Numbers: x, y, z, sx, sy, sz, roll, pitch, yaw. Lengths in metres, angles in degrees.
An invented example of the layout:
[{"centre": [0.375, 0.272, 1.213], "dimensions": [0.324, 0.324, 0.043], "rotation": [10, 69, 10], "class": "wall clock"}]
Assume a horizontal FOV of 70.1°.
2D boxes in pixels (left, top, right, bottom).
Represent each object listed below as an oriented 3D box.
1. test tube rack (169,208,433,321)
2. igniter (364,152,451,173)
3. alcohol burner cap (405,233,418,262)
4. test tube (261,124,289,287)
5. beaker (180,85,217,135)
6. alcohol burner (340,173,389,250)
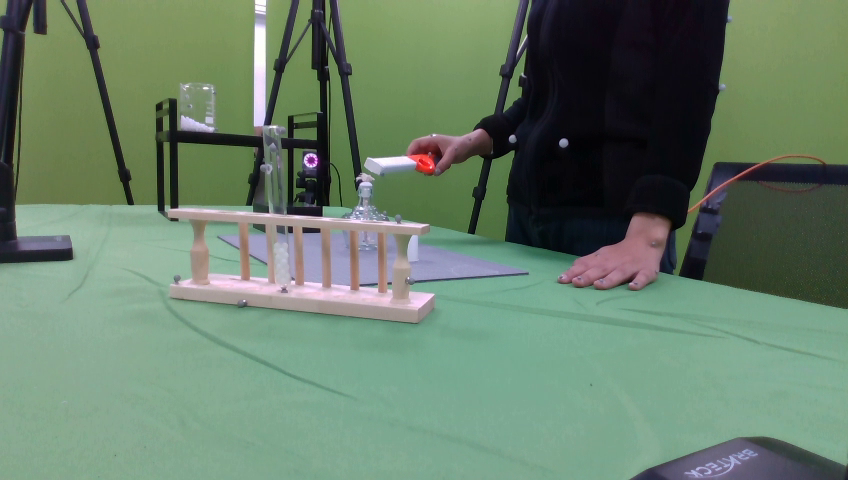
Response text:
[{"centre": [-0.115, 0.018, 0.574], "dimensions": [0.242, 0.085, 0.067], "rotation": [4, 8, 14], "class": "test tube rack"}, {"centre": [-0.021, -0.139, 1.073], "dimensions": [0.057, 0.025, 0.277], "rotation": [33, 21, 18], "class": "igniter"}, {"centre": [-0.024, 0.005, 0.847], "dimensions": [0.034, 0.048, 0.034], "rotation": [3, 9, 0], "class": "alcohol burner cap"}, {"centre": [-0.136, -0.030, 0.554], "dimensions": [0.017, 0.150, 0.017], "rotation": [-2, 10, 1], "class": "test tube"}, {"centre": [-0.478, -0.275, 1.279], "dimensions": [0.074, 0.100, 0.084], "rotation": [4, 8, 15], "class": "beaker"}, {"centre": [-0.093, -0.045, 0.939], "dimensions": [0.078, 0.119, 0.078], "rotation": [0, 7, 0], "class": "alcohol burner"}]
